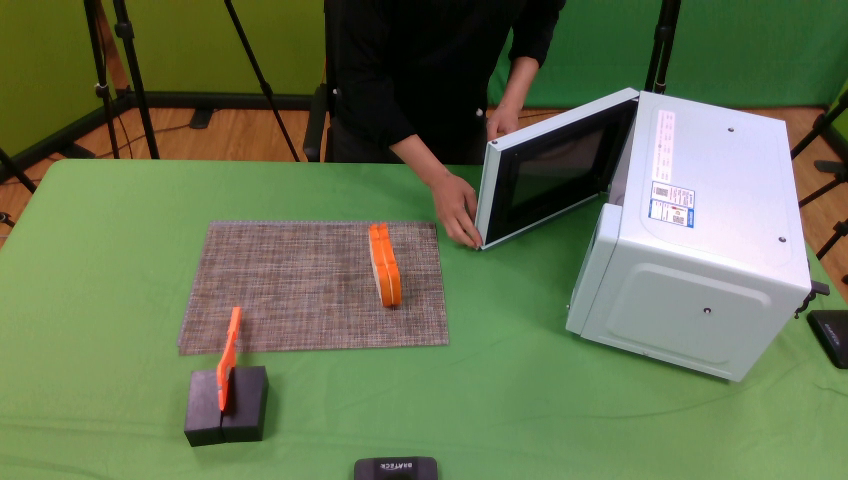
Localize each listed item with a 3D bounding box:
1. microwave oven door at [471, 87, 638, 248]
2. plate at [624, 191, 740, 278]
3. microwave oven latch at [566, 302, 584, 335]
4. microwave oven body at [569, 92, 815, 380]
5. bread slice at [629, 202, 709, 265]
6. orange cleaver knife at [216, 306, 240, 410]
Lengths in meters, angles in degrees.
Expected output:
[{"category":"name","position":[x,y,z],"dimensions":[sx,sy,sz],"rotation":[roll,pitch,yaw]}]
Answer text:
[{"category":"microwave oven door","position":[0.255,-0.142,1.176],"dimensions":[0.356,0.245,0.039],"rotation":[-24,53,-25]},{"category":"plate","position":[0.483,-0.007,1.150],"dimensions":[0.208,0.039,0.206],"rotation":[0,50,0]},{"category":"microwave oven latch","position":[0.268,0.126,1.059],"dimensions":[0.030,0.029,0.079],"rotation":[16,46,12]},{"category":"microwave oven body","position":[0.468,-0.022,1.082],"dimensions":[0.325,0.261,0.440],"rotation":[15,46,11]},{"category":"bread slice","position":[0.476,-0.020,1.170],"dimensions":[0.134,0.018,0.106],"rotation":[-31,59,-18]},{"category":"orange cleaver knife","position":[-0.307,0.180,0.957],"dimensions":[0.012,0.077,0.210],"rotation":[-2,25,-8]}]
